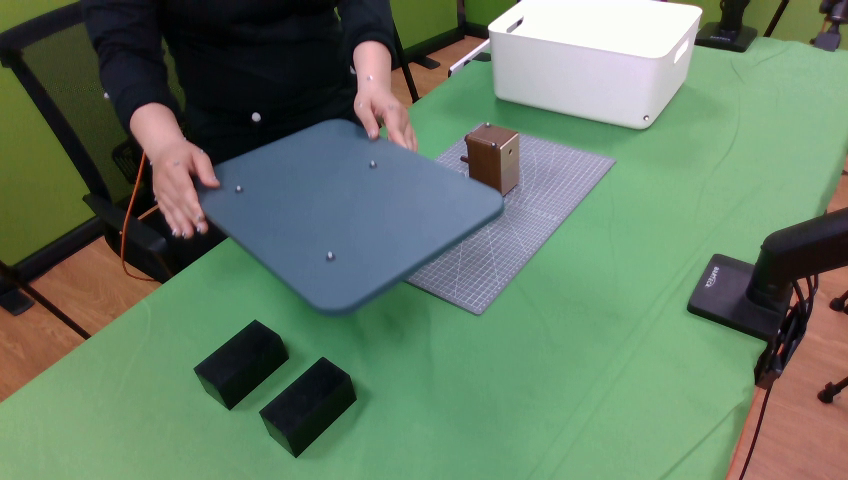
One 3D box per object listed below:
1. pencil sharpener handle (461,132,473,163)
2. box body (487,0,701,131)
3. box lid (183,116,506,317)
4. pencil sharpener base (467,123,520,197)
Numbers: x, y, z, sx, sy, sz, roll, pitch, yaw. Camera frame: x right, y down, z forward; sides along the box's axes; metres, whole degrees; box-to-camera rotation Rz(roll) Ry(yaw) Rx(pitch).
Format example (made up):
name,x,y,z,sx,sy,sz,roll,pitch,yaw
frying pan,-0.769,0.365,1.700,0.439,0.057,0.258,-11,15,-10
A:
name,x,y,z,sx,sy,sz,roll,pitch,yaw
pencil sharpener handle,0.078,-0.164,1.063,0.030,0.068,0.036,23,48,32
box body,0.345,-0.379,1.257,0.361,0.161,0.255,20,48,29
box lid,-0.109,-0.054,0.745,0.264,0.015,0.368,-32,44,-28
pencil sharpener base,0.119,-0.138,1.044,0.076,0.107,0.061,23,50,32
